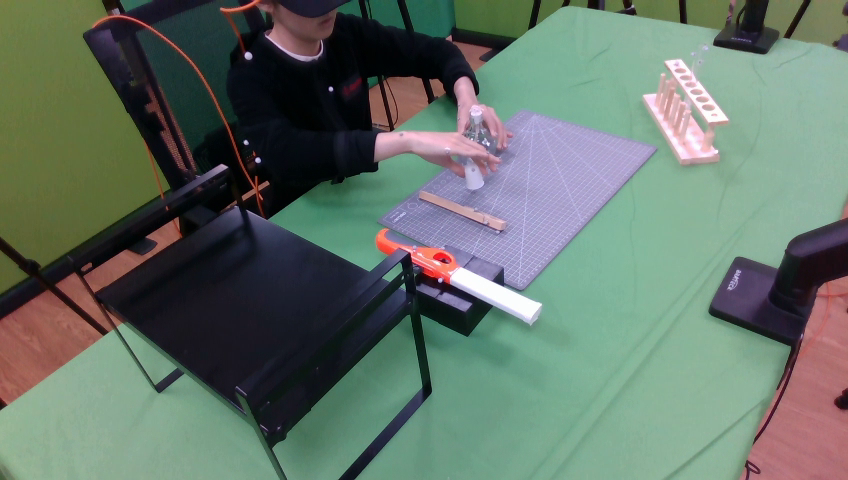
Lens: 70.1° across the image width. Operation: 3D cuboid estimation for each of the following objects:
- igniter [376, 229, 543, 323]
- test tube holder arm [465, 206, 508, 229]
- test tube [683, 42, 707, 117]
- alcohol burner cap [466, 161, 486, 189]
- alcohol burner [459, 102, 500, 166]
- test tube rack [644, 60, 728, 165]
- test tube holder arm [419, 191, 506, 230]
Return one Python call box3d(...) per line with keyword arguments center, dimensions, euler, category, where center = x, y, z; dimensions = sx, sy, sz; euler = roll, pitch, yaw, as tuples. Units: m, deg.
box3d(center=(0.038, 0.044, 0.843), dimensions=(0.274, 0.025, 0.057), euler=(25, 47, 29), category="igniter")
box3d(center=(0.100, -0.038, 1.005), dimensions=(0.087, 0.015, 0.010), euler=(23, 16, 33), category="test tube holder arm")
box3d(center=(0.497, -0.292, 1.114), dimensions=(0.017, 0.151, 0.017), euler=(-4, 44, 4), category="test tube")
box3d(center=(0.089, -0.116, 1.051), dimensions=(0.034, 0.048, 0.033), euler=(-8, 42, 8), category="alcohol burner cap")
box3d(center=(0.101, -0.197, 1.115), dimensions=(0.078, 0.119, 0.077), euler=(-5, 39, 5), category="alcohol burner")
box3d(center=(0.485, -0.246, 1.140), dimensions=(0.067, 0.085, 0.241), euler=(-5, 41, 4), category="test tube rack")
box3d(center=(0.062, -0.052, 1.025), dimensions=(0.177, 0.015, 0.013), euler=(23, 15, 32), category="test tube holder arm")
